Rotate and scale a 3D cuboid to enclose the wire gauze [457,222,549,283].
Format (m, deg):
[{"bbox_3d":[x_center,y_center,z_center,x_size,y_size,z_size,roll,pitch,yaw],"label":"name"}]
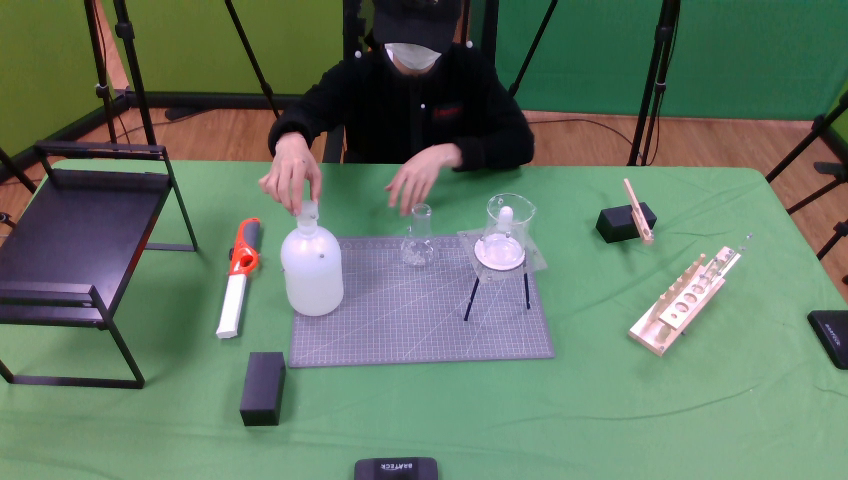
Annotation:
[{"bbox_3d":[0.131,0.016,1.017,0.121,0.011,0.124,-10,44,-15],"label":"wire gauze"}]

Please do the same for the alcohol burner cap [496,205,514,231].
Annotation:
[{"bbox_3d":[0.153,-0.045,1.131,0.034,0.048,0.033,2,40,-1],"label":"alcohol burner cap"}]

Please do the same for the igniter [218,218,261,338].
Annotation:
[{"bbox_3d":[-0.336,0.060,1.111,0.057,0.025,0.274,-8,46,4],"label":"igniter"}]

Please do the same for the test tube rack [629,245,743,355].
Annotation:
[{"bbox_3d":[0.474,0.095,1.091,0.242,0.085,0.066,-34,56,-31],"label":"test tube rack"}]

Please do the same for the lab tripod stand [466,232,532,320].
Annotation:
[{"bbox_3d":[0.125,0.059,1.065,0.148,0.132,0.147,1,45,0],"label":"lab tripod stand"}]

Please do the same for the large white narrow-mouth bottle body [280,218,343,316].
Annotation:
[{"bbox_3d":[-0.190,0.035,1.025,0.102,0.195,0.101,2,46,-2],"label":"large white narrow-mouth bottle body"}]

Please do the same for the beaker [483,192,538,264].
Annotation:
[{"bbox_3d":[0.136,-0.017,0.980,0.084,0.101,0.073,-6,45,-9],"label":"beaker"}]

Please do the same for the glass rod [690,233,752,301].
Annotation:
[{"bbox_3d":[0.507,0.053,1.041,0.008,0.200,0.008,5,51,-6],"label":"glass rod"}]

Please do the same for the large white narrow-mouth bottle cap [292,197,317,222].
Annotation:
[{"bbox_3d":[-0.185,-0.047,0.943,0.038,0.024,0.037,2,46,-2],"label":"large white narrow-mouth bottle cap"}]

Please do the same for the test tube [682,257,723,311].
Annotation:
[{"bbox_3d":[0.474,0.080,1.037,0.017,0.151,0.017,1,50,-1],"label":"test tube"}]

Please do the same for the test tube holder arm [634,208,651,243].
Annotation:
[{"bbox_3d":[0.428,-0.030,1.189,0.010,0.015,0.087,1,47,-2],"label":"test tube holder arm"}]

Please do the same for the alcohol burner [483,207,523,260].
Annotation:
[{"bbox_3d":[0.152,-0.018,1.156,0.078,0.120,0.077,0,47,0],"label":"alcohol burner"}]

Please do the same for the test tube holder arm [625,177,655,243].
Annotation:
[{"bbox_3d":[0.433,-0.063,1.220,0.013,0.015,0.177,1,47,-3],"label":"test tube holder arm"}]

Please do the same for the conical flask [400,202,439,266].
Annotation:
[{"bbox_3d":[-0.007,-0.014,1.135,0.075,0.122,0.075,2,46,-2],"label":"conical flask"}]
